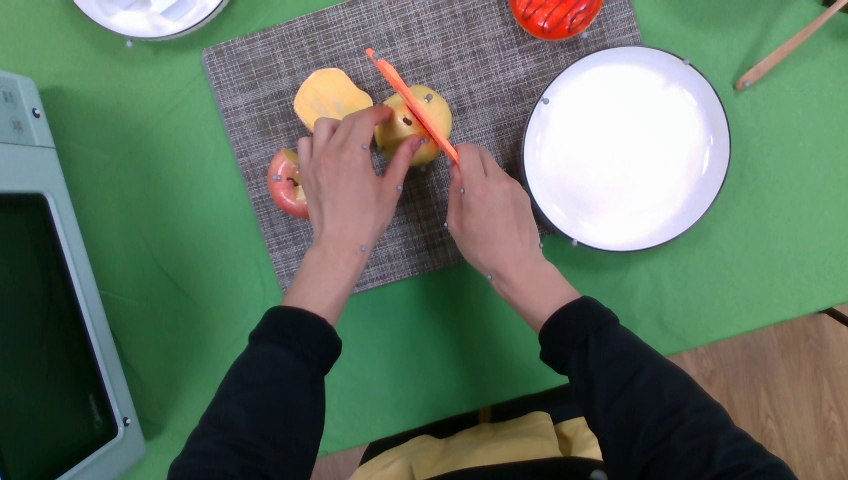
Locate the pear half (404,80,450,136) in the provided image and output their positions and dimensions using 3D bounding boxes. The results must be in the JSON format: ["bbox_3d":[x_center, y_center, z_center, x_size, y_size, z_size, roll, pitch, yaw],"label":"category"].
[{"bbox_3d":[0.006,-0.137,0.609,0.031,0.088,0.070,-43,86,0],"label":"pear half"}]

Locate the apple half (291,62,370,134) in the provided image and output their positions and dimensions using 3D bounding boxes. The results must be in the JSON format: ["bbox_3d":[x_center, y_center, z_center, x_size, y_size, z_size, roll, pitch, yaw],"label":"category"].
[{"bbox_3d":[-0.100,-0.142,0.637,0.081,0.033,0.081,3,75,-9],"label":"apple half"}]

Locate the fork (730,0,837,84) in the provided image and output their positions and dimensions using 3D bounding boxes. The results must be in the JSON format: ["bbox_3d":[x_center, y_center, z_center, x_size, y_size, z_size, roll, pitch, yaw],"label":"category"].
[{"bbox_3d":[0.387,-0.228,0.583,0.028,0.018,0.207,41,117,-8],"label":"fork"}]

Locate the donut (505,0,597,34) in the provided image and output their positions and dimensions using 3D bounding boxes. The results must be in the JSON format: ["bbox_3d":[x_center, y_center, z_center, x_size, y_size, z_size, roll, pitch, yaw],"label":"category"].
[{"bbox_3d":[0.128,-0.258,0.611,0.099,0.048,0.099,1,98,6],"label":"donut"}]

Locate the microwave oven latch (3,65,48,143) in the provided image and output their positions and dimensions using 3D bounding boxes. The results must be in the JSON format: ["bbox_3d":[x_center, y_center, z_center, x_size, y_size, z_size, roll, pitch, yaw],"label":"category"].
[{"bbox_3d":[-0.429,-0.141,0.640,0.030,0.029,0.079,-13,96,4],"label":"microwave oven latch"}]

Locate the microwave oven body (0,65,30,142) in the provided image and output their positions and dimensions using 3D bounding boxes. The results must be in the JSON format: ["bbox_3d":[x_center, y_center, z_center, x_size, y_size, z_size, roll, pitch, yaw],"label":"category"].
[{"bbox_3d":[-0.533,0.075,0.572,0.326,0.259,0.442,-14,96,4],"label":"microwave oven body"}]

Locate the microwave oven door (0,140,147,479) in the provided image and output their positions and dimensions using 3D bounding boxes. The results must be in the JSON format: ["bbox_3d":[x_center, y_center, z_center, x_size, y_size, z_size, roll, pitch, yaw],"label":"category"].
[{"bbox_3d":[-0.381,0.081,0.560,0.039,0.243,0.356,-15,95,4],"label":"microwave oven door"}]

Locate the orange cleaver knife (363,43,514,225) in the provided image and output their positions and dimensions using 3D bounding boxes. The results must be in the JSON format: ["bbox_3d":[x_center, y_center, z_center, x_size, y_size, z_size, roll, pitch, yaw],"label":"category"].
[{"bbox_3d":[0.015,-0.097,0.569,0.012,0.076,0.213,-40,115,4],"label":"orange cleaver knife"}]

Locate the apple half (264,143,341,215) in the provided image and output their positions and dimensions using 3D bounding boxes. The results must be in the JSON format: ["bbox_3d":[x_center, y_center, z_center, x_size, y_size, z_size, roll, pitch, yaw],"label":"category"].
[{"bbox_3d":[-0.132,-0.056,0.631,0.081,0.074,0.053,37,101,-5],"label":"apple half"}]

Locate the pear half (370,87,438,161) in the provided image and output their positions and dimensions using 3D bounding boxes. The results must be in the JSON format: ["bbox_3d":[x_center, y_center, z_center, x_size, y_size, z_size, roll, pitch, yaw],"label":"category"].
[{"bbox_3d":[-0.026,-0.111,0.601,0.056,0.110,0.076,-40,87,7],"label":"pear half"}]

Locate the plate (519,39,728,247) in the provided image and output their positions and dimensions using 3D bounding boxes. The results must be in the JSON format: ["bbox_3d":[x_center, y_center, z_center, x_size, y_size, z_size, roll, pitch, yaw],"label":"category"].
[{"bbox_3d":[0.202,-0.098,0.628,0.209,0.038,0.209,0,96,3],"label":"plate"}]

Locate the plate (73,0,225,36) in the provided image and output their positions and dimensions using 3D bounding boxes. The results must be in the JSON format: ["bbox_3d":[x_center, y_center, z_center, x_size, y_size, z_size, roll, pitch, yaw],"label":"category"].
[{"bbox_3d":[-0.284,-0.317,0.632,0.207,0.039,0.208,0,96,3],"label":"plate"}]
